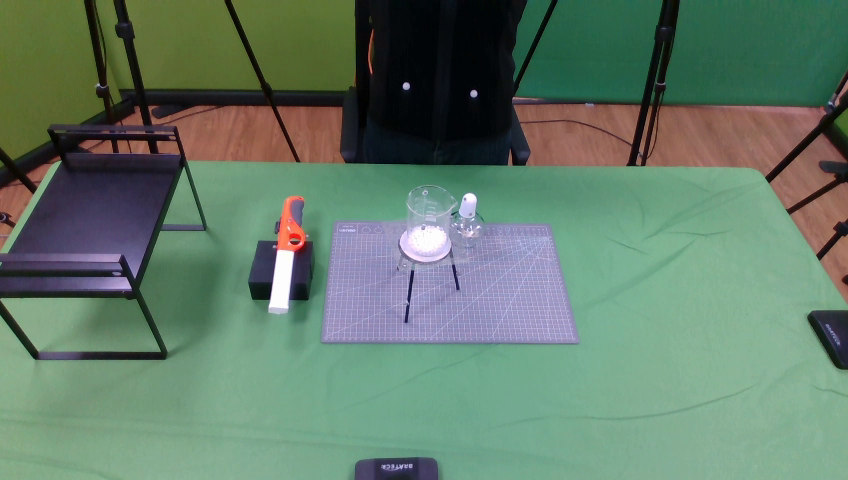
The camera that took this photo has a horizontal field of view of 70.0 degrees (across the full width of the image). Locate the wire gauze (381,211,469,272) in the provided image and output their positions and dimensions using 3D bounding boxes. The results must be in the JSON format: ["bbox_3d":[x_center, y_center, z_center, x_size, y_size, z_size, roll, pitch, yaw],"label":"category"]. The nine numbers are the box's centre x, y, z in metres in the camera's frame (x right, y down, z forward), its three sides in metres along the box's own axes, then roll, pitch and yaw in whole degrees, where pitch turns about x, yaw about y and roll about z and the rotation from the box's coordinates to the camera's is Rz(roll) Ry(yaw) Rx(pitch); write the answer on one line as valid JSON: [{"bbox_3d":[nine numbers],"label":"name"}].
[{"bbox_3d":[0.000,0.001,1.024,0.125,0.011,0.120,-11,48,-12],"label":"wire gauze"}]

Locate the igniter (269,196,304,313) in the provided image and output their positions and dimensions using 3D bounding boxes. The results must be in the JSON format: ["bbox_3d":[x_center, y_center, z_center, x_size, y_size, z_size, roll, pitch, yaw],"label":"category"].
[{"bbox_3d":[-0.249,0.016,1.095,0.057,0.025,0.274,8,46,-13],"label":"igniter"}]

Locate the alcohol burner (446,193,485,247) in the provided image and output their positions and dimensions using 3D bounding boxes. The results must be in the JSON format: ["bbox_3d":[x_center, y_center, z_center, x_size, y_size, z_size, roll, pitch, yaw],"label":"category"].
[{"bbox_3d":[0.082,-0.044,1.179,0.078,0.120,0.077,2,45,-2],"label":"alcohol burner"}]

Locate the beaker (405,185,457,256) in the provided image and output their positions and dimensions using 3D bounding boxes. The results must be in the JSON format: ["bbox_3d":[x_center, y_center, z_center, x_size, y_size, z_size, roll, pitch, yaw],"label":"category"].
[{"bbox_3d":[0.009,-0.029,0.987,0.084,0.101,0.073,-1,48,-5],"label":"beaker"}]

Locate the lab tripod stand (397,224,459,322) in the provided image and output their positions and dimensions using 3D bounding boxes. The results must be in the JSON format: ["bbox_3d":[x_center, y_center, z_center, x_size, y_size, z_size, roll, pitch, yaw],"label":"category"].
[{"bbox_3d":[-0.003,0.052,1.067,0.148,0.132,0.147,3,48,-3],"label":"lab tripod stand"}]

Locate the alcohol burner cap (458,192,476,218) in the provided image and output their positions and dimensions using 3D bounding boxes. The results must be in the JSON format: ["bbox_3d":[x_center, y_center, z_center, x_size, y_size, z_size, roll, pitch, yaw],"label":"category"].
[{"bbox_3d":[0.085,-0.068,1.153,0.034,0.048,0.033,4,44,-4],"label":"alcohol burner cap"}]
